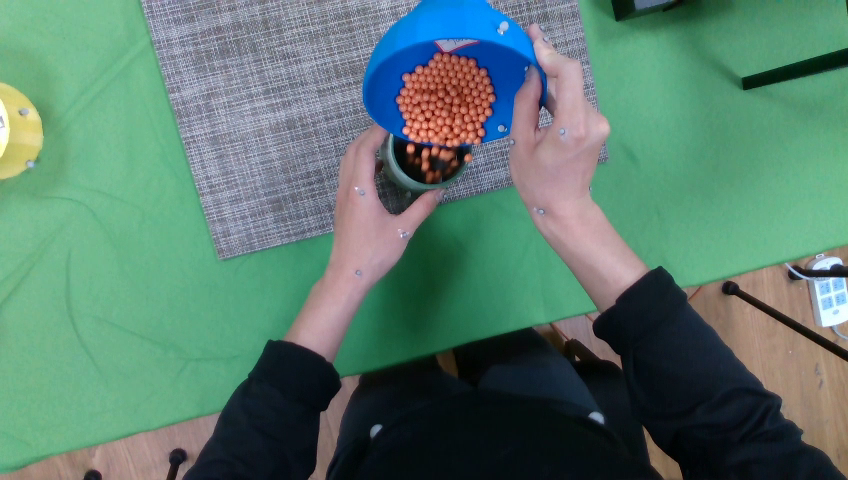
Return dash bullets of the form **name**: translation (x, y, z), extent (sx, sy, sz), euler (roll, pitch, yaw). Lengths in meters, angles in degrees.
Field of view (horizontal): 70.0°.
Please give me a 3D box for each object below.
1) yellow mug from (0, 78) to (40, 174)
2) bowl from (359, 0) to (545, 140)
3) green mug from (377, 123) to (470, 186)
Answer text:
- **yellow mug**: translation (-0.444, -0.098, 0.584), extent (0.100, 0.064, 0.131), euler (18, 95, -9)
- **bowl**: translation (0.022, -0.155, 0.502), extent (0.152, 0.152, 0.076), euler (2, 69, -7)
- **green mug**: translation (0.000, -0.117, 0.615), extent (0.093, 0.104, 0.125), euler (1, 97, -7)
